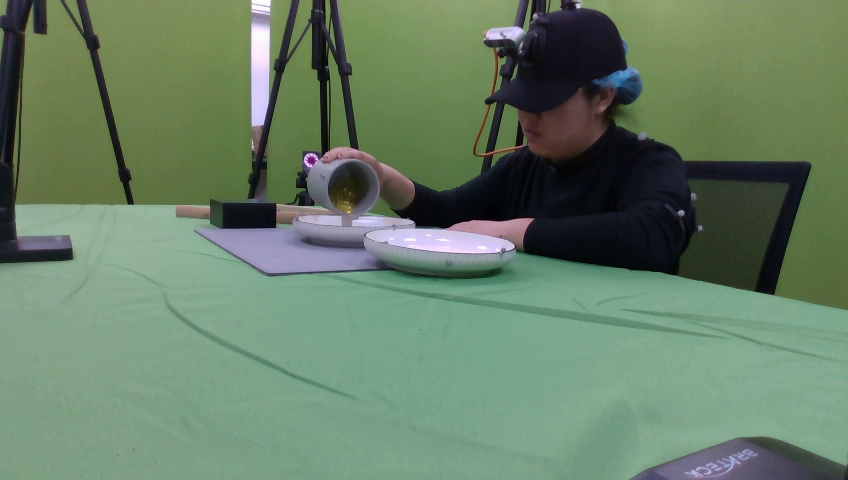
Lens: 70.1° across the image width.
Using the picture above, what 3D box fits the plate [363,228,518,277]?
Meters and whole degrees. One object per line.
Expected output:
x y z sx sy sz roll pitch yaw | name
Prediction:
0.021 0.016 0.817 0.209 0.038 0.209 4 9 0 | plate

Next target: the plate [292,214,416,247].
-0.118 -0.017 1.024 0.208 0.039 0.207 3 8 0 | plate

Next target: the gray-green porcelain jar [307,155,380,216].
-0.156 -0.104 1.133 0.106 0.106 0.126 -2 12 -29 | gray-green porcelain jar

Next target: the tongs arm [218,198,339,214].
-0.313 -0.064 1.352 0.384 0.026 0.051 6 9 17 | tongs arm

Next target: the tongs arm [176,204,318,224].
-0.333 -0.051 1.273 0.387 0.028 0.028 4 5 4 | tongs arm
